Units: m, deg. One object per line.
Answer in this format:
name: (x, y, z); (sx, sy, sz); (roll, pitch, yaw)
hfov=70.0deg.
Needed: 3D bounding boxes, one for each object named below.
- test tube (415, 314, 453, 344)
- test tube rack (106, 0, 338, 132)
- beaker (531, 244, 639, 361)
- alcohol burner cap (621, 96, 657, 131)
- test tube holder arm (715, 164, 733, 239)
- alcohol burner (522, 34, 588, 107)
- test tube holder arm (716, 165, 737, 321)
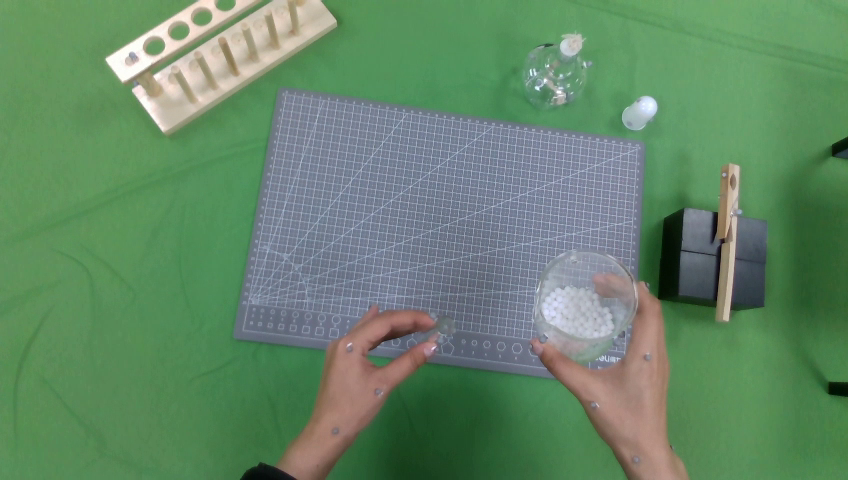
test tube: (0.007, 0.080, 0.537); (0.017, 0.150, 0.017); (2, 77, -7)
test tube rack: (-0.216, -0.228, 0.682); (0.242, 0.085, 0.066); (-37, 84, -11)
beaker: (0.125, 0.059, 0.498); (0.084, 0.101, 0.073); (-25, 67, -3)
alcohol burner cap: (0.264, -0.156, 0.737); (0.034, 0.048, 0.033); (1, 78, -5)
test tube holder arm: (0.339, -0.043, 0.684); (0.010, 0.015, 0.087); (10, 80, -11)
alcohol burner: (0.156, -0.202, 0.698); (0.078, 0.119, 0.077); (1, 78, -6)
test tube holder arm: (0.339, 0.002, 0.678); (0.013, 0.015, 0.177); (9, 80, -12)
